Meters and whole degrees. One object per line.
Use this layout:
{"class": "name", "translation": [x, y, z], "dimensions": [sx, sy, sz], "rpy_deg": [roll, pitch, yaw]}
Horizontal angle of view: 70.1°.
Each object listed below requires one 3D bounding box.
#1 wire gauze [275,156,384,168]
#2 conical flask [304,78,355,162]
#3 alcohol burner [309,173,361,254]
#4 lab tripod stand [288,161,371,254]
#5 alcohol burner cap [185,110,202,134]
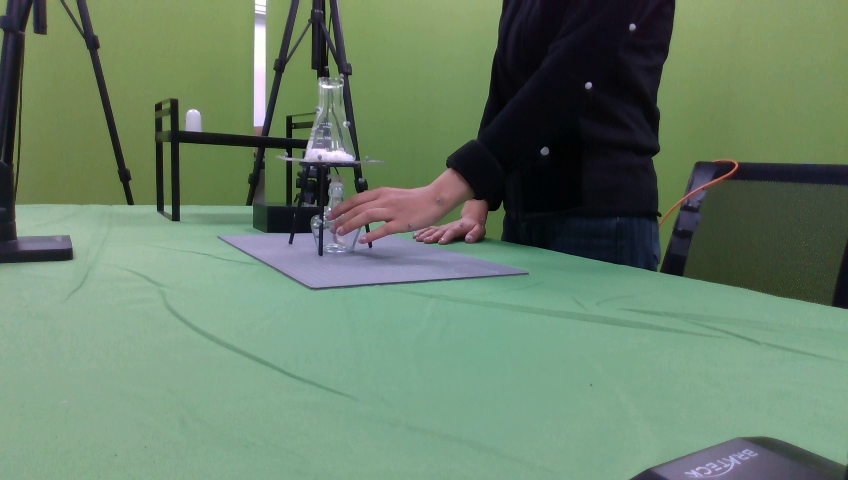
{"class": "wire gauze", "translation": [-0.142, -0.116, 0.900], "dimensions": [0.122, 0.011, 0.124], "rpy_deg": [-1, 5, -37]}
{"class": "conical flask", "translation": [-0.139, -0.175, 0.893], "dimensions": [0.075, 0.122, 0.075], "rpy_deg": [2, 8, 0]}
{"class": "alcohol burner", "translation": [-0.132, -0.040, 0.900], "dimensions": [0.078, 0.119, 0.078], "rpy_deg": [2, 6, 0]}
{"class": "lab tripod stand", "translation": [-0.148, -0.053, 0.909], "dimensions": [0.148, 0.131, 0.148], "rpy_deg": [1, 8, 0]}
{"class": "alcohol burner cap", "translation": [-0.470, -0.241, 1.234], "dimensions": [0.034, 0.048, 0.034], "rpy_deg": [4, 7, 0]}
